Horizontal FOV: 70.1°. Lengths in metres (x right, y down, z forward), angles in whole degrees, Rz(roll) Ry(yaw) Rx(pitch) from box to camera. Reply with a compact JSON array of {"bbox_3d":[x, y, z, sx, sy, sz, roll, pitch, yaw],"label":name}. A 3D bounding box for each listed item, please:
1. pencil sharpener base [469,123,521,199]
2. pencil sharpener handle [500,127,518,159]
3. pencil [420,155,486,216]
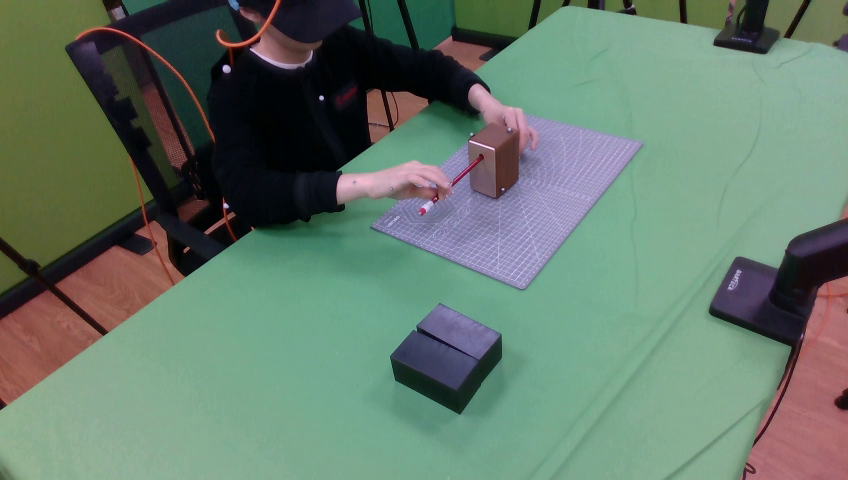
[{"bbox_3d":[0.126,-0.138,1.050,0.061,0.107,0.077,24,49,33],"label":"pencil sharpener base"},{"bbox_3d":[0.156,-0.176,1.071,0.035,0.068,0.031,29,52,28],"label":"pencil sharpener handle"},{"bbox_3d":[0.056,-0.096,0.974,0.012,0.012,0.194,24,52,32],"label":"pencil"}]
